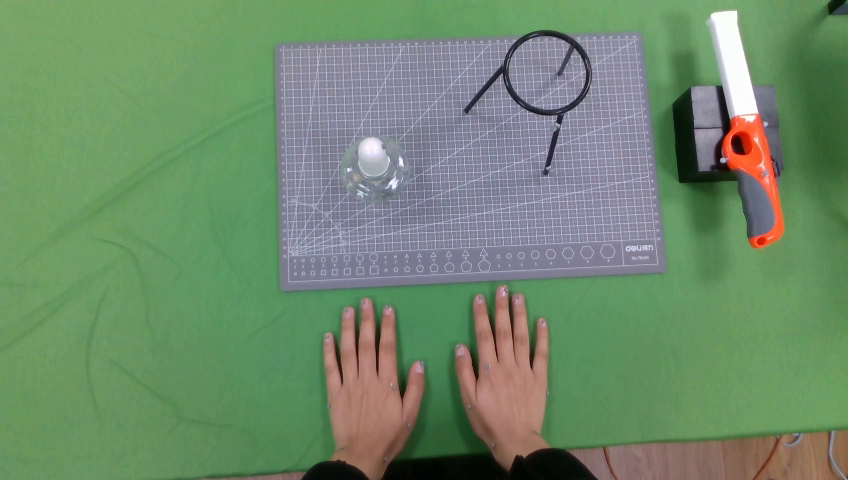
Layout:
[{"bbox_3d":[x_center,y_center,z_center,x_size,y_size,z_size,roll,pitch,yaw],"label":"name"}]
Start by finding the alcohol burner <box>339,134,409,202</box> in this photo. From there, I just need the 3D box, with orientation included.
[{"bbox_3d":[-0.056,-0.082,0.658,0.078,0.119,0.077,0,83,-1],"label":"alcohol burner"}]

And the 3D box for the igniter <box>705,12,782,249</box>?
[{"bbox_3d":[0.358,-0.126,0.681,0.057,0.025,0.275,-6,80,-1],"label":"igniter"}]

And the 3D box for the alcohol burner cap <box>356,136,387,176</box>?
[{"bbox_3d":[-0.055,-0.089,0.623,0.034,0.048,0.033,1,74,-3],"label":"alcohol burner cap"}]

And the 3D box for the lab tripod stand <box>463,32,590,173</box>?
[{"bbox_3d":[0.121,-0.160,0.667,0.148,0.132,0.148,0,79,-2],"label":"lab tripod stand"}]
